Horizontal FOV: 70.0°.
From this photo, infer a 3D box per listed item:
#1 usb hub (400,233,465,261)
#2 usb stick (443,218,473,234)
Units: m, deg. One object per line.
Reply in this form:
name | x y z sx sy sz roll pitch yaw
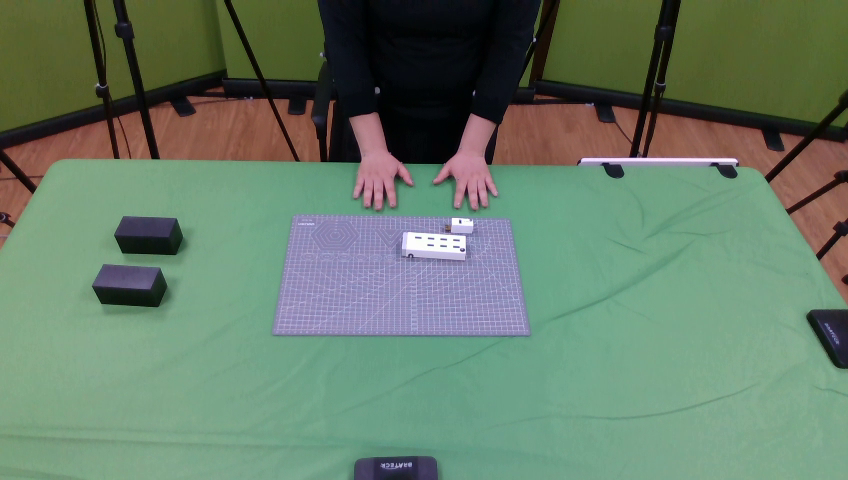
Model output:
usb hub | 0.018 0.013 1.180 0.125 0.025 0.049 4 46 0
usb stick | 0.068 -0.028 1.223 0.059 0.027 0.021 1 45 0
